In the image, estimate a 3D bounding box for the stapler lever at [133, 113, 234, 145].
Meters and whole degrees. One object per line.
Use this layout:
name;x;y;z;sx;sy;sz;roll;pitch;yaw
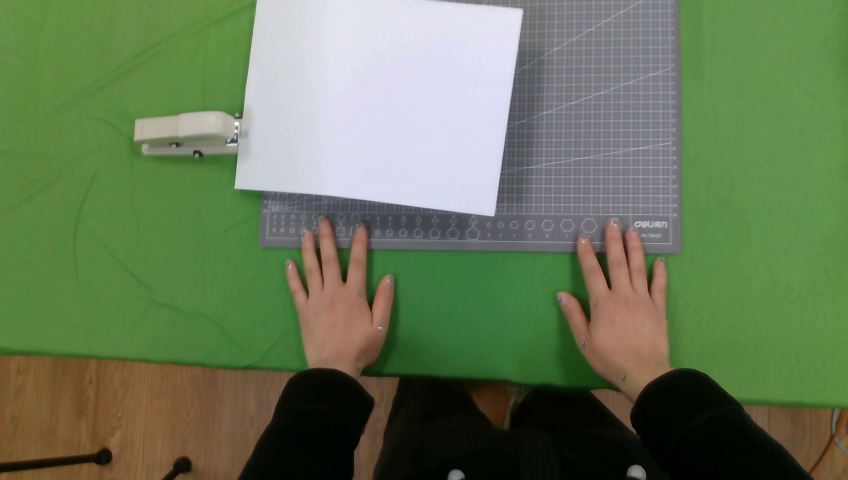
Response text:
stapler lever;-0.263;-0.119;0.653;0.118;0.040;0.027;-1;84;5

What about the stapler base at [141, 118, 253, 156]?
stapler base;-0.259;-0.118;0.678;0.130;0.024;0.041;-1;85;6
